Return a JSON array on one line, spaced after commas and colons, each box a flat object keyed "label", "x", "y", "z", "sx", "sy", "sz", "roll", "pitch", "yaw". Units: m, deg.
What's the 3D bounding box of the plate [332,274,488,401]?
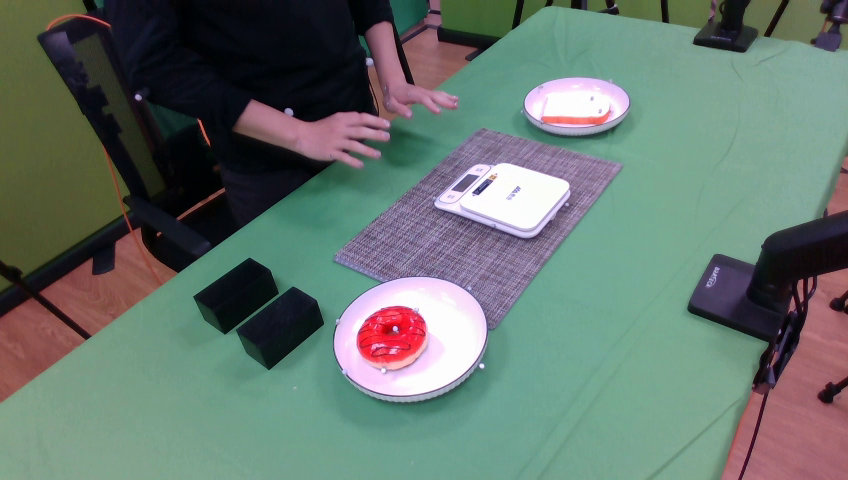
[{"label": "plate", "x": -0.017, "y": 0.130, "z": 0.808, "sx": 0.207, "sy": 0.039, "sz": 0.206, "roll": -4, "pitch": 41, "yaw": 4}]

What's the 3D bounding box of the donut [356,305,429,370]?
[{"label": "donut", "x": -0.041, "y": 0.127, "z": 0.798, "sx": 0.099, "sy": 0.048, "sz": 0.098, "roll": -7, "pitch": 40, "yaw": 7}]

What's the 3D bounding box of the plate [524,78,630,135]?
[{"label": "plate", "x": 0.307, "y": -0.265, "z": 1.223, "sx": 0.209, "sy": 0.038, "sz": 0.208, "roll": -4, "pitch": 40, "yaw": 4}]

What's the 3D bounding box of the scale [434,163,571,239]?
[{"label": "scale", "x": 0.132, "y": -0.075, "z": 1.025, "sx": 0.199, "sy": 0.032, "sz": 0.149, "roll": 22, "pitch": 48, "yaw": 30}]

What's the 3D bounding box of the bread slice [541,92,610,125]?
[{"label": "bread slice", "x": 0.310, "y": -0.268, "z": 1.227, "sx": 0.131, "sy": 0.019, "sz": 0.105, "roll": 7, "pitch": 43, "yaw": 14}]
